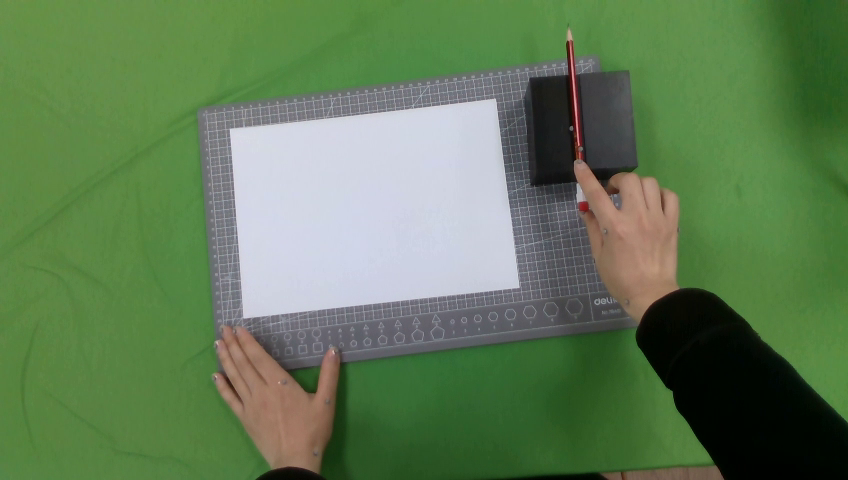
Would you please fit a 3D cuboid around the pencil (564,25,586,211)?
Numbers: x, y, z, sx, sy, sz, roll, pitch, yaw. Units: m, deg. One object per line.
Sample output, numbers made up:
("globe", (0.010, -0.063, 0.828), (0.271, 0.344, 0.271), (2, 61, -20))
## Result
("pencil", (0.150, -0.124, 0.607), (0.012, 0.012, 0.193), (-3, 83, 2))
